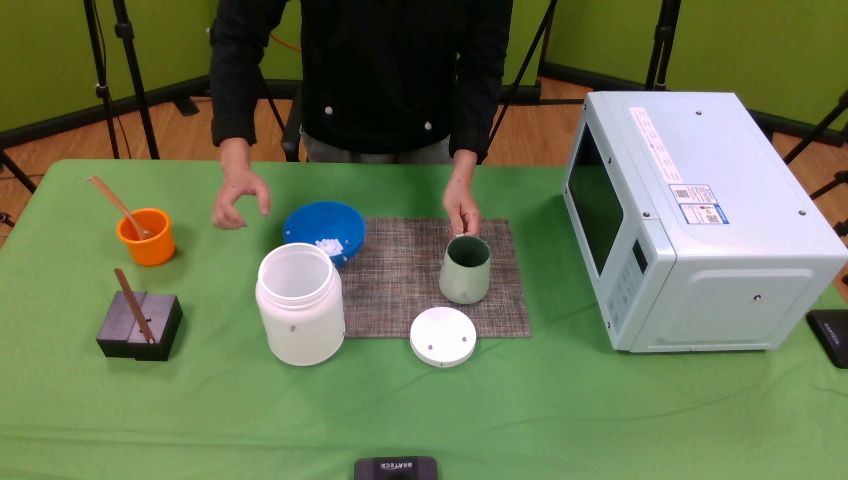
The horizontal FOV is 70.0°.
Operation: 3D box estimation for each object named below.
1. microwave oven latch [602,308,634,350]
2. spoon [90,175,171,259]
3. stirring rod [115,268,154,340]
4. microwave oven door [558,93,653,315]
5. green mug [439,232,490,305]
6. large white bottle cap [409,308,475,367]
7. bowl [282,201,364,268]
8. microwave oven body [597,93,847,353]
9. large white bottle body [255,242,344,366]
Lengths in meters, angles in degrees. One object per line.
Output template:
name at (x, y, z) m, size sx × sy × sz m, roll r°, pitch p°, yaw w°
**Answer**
microwave oven latch at (0.332, 0.153, 1.044) m, size 0.030 × 0.029 × 0.078 m, roll -1°, pitch 45°, yaw -4°
spoon at (-0.539, -0.042, 1.111) m, size 0.041 × 0.194 × 0.021 m, roll -46°, pitch 19°, yaw -32°
stirring rod at (-0.479, 0.102, 0.999) m, size 0.014 × 0.006 × 0.175 m, roll 8°, pitch 32°, yaw -49°
microwave oven door at (0.327, -0.074, 1.123) m, size 0.039 × 0.245 × 0.353 m, roll 0°, pitch 46°, yaw -5°
green mug at (0.071, 0.044, 1.101) m, size 0.092 × 0.105 × 0.124 m, roll -7°, pitch 47°, yaw -10°
large white bottle cap at (0.031, 0.166, 1.041) m, size 0.115 × 0.018 × 0.114 m, roll 2°, pitch 46°, yaw -2°
bowl at (-0.187, 0.005, 1.138) m, size 0.151 × 0.077 × 0.150 m, roll 3°, pitch 46°, yaw -3°
microwave oven body at (0.475, -0.041, 1.109) m, size 0.326 × 0.261 × 0.438 m, roll -1°, pitch 45°, yaw -4°
large white bottle body at (-0.196, 0.102, 0.967) m, size 0.131 × 0.185 × 0.130 m, roll 2°, pitch 49°, yaw -2°
